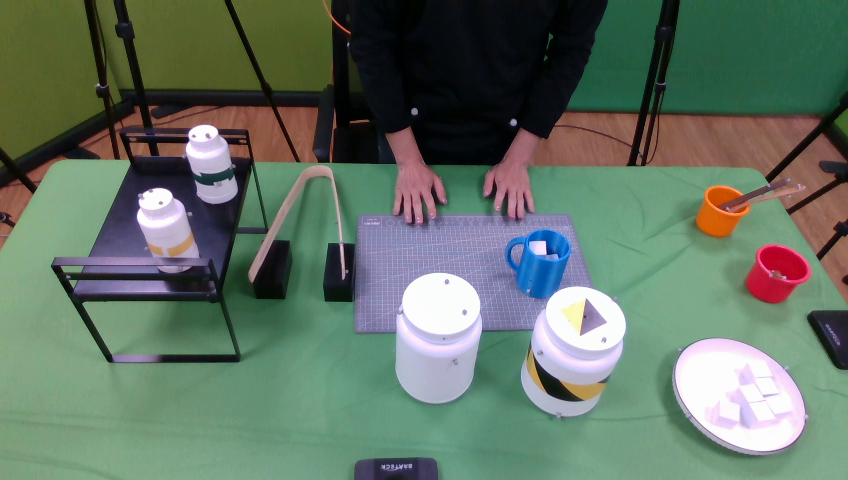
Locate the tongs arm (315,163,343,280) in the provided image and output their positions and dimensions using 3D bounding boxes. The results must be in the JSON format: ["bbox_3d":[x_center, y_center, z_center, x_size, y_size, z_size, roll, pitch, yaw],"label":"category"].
[{"bbox_3d":[-0.187,-0.049,1.170,0.051,0.026,0.382,-5,35,-6],"label":"tongs arm"}]

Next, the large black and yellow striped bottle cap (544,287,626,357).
[{"bbox_3d":[0.232,0.116,0.876,0.115,0.019,0.114,2,46,-1],"label":"large black and yellow striped bottle cap"}]

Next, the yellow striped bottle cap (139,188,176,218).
[{"bbox_3d":[-0.363,-0.050,0.826,0.044,0.019,0.044,1,47,-1],"label":"yellow striped bottle cap"}]

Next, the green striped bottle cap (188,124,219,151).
[{"bbox_3d":[-0.339,-0.158,0.931,0.044,0.020,0.044,4,45,-4],"label":"green striped bottle cap"}]

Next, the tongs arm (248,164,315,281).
[{"bbox_3d":[-0.269,-0.048,1.165,0.028,0.028,0.385,0,34,7],"label":"tongs arm"}]

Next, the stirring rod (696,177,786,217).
[{"bbox_3d":[0.647,-0.087,1.244,0.176,0.006,0.014,-26,51,29],"label":"stirring rod"}]

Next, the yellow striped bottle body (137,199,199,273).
[{"bbox_3d":[-0.366,-0.014,0.863,0.063,0.121,0.062,2,46,-2],"label":"yellow striped bottle body"}]

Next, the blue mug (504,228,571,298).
[{"bbox_3d":[0.202,0.036,1.116,0.116,0.106,0.082,22,49,16],"label":"blue mug"}]

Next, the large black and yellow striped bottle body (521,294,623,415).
[{"bbox_3d":[0.228,0.173,0.938,0.131,0.185,0.130,2,47,-2],"label":"large black and yellow striped bottle body"}]

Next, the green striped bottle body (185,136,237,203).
[{"bbox_3d":[-0.341,-0.121,0.969,0.063,0.120,0.063,2,46,-2],"label":"green striped bottle body"}]

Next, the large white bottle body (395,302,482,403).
[{"bbox_3d":[0.020,0.153,0.940,0.131,0.185,0.130,2,46,-2],"label":"large white bottle body"}]

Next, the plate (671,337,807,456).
[{"bbox_3d":[0.503,0.254,0.984,0.208,0.039,0.206,2,46,-2],"label":"plate"}]

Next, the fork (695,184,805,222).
[{"bbox_3d":[0.657,-0.074,1.229,0.207,0.019,0.028,-24,33,36],"label":"fork"}]

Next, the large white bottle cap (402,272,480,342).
[{"bbox_3d":[0.024,0.095,0.878,0.115,0.018,0.114,2,47,-2],"label":"large white bottle cap"}]

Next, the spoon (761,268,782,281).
[{"bbox_3d":[0.638,0.060,1.105,0.041,0.021,0.194,38,11,24],"label":"spoon"}]
